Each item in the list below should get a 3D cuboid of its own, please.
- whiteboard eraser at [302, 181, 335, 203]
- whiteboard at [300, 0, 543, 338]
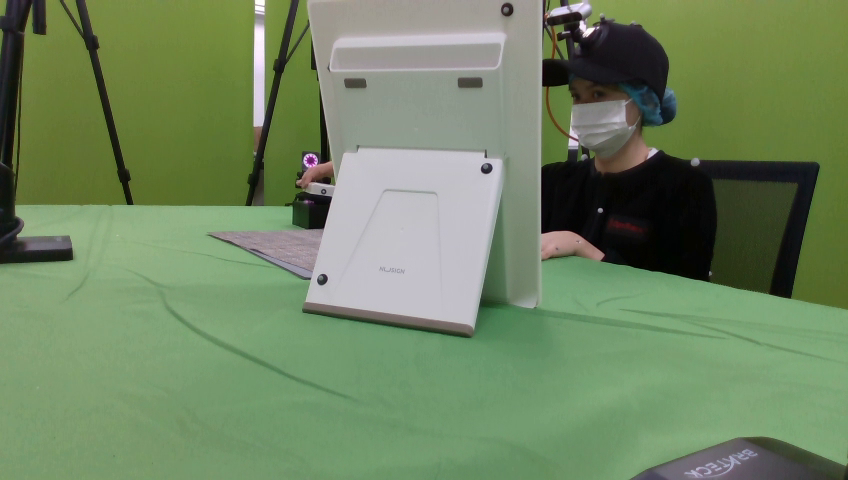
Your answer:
[{"bbox_3d":[-0.214,-0.098,1.232,0.056,0.042,0.112,5,6,-20],"label":"whiteboard eraser"},{"bbox_3d":[-0.020,-0.050,0.523,0.216,0.305,0.144,6,27,22],"label":"whiteboard"}]
